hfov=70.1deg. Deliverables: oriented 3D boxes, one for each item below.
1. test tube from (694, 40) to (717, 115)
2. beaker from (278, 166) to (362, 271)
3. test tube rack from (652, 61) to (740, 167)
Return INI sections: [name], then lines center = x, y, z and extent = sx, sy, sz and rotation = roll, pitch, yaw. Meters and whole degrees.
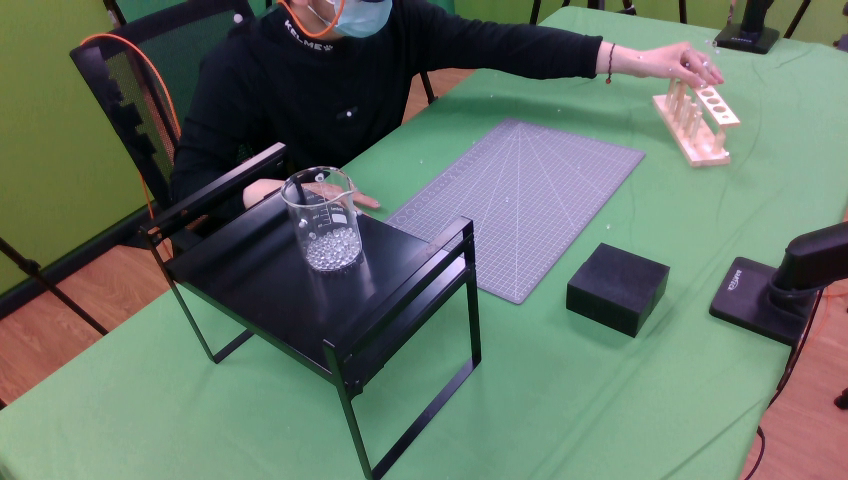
[test tube]
center = 0.512, -0.293, 1.103
extent = 0.017, 0.151, 0.017
rotation = -5, 45, 6
[beaker]
center = -0.109, -0.022, 0.675
extent = 0.084, 0.101, 0.073
rotation = -2, 41, 5
[test tube rack]
center = 0.499, -0.242, 1.130
extent = 0.067, 0.085, 0.241
rotation = -5, 41, 4
